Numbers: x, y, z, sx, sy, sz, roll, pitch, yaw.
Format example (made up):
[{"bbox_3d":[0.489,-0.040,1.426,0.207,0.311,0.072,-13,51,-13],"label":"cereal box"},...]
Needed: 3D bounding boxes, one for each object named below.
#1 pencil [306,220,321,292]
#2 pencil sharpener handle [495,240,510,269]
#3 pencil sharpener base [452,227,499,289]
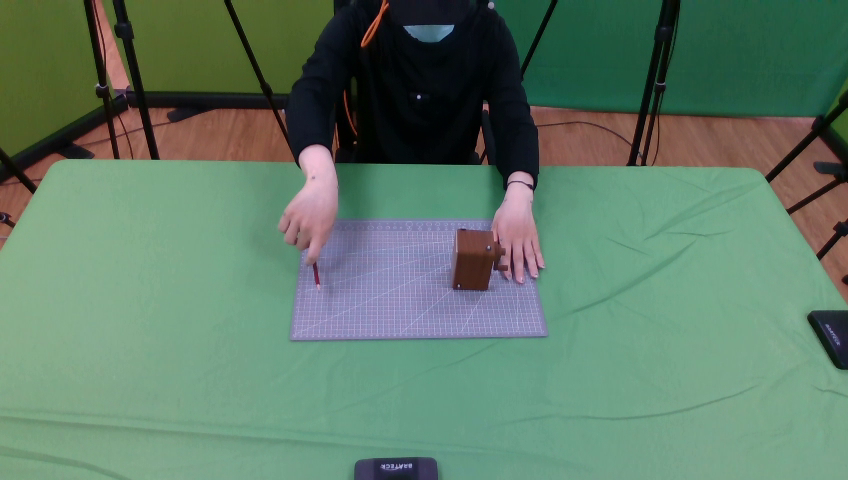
[{"bbox_3d":[-0.203,0.027,1.120,0.012,0.012,0.192,-8,43,-11],"label":"pencil"},{"bbox_3d":[0.145,0.029,1.095,0.030,0.068,0.036,3,47,-1],"label":"pencil sharpener handle"},{"bbox_3d":[0.093,0.035,1.102,0.077,0.107,0.061,3,46,-1],"label":"pencil sharpener base"}]
